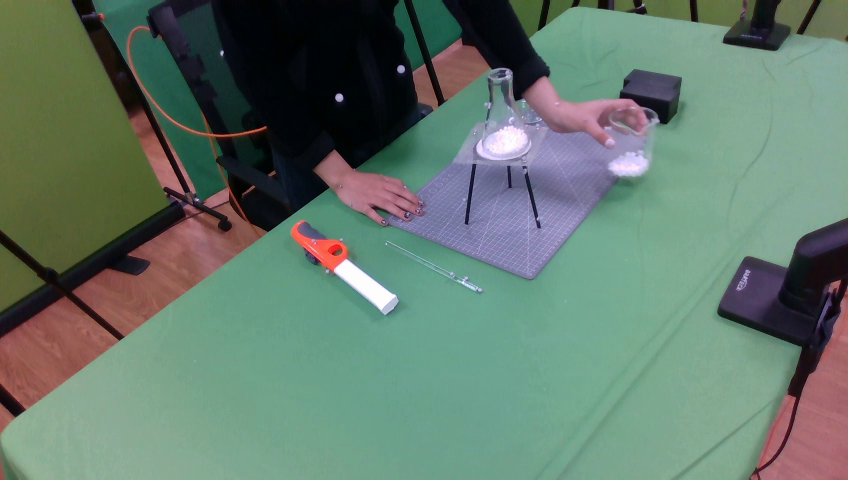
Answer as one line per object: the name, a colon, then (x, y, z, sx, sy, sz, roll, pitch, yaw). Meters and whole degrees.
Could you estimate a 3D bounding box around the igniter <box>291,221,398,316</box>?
igniter: (-0.136, 0.037, 0.962, 0.057, 0.025, 0.274, -40, 48, -18)

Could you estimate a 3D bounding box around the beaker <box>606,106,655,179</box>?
beaker: (0.339, -0.158, 0.998, 0.074, 0.101, 0.083, -5, 38, 6)

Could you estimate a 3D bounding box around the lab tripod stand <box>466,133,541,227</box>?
lab tripod stand: (0.130, -0.099, 0.985, 0.148, 0.132, 0.147, -6, 38, 6)

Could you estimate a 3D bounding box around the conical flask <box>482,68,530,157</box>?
conical flask: (0.118, -0.192, 0.902, 0.075, 0.122, 0.075, -7, 39, 6)

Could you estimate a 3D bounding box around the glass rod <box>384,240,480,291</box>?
glass rod: (0.009, 0.037, 0.949, 0.198, 0.008, 0.008, 26, 52, 34)

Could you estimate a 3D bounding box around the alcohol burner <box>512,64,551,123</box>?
alcohol burner: (0.215, -0.298, 1.220, 0.078, 0.120, 0.077, -7, 41, 7)

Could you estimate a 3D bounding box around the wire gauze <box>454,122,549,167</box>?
wire gauze: (0.122, -0.149, 0.943, 0.121, 0.011, 0.125, 7, 44, 22)

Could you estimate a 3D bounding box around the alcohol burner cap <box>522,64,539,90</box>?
alcohol burner cap: (0.210, -0.324, 1.195, 0.034, 0.048, 0.033, -7, 44, 7)
